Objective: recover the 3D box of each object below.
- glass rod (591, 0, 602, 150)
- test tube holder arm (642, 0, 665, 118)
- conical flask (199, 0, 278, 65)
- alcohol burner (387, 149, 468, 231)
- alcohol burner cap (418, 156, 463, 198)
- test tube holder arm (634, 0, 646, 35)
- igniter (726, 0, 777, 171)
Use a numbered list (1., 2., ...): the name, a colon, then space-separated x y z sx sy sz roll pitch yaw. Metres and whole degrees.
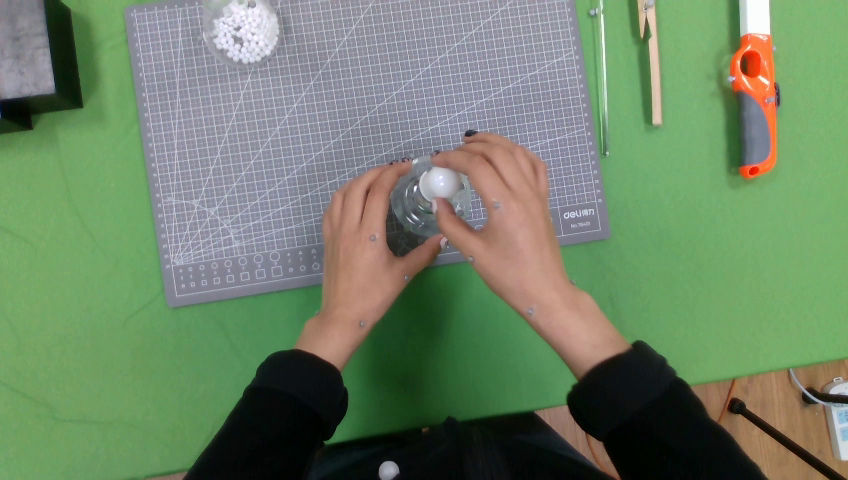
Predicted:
1. glass rod: 0.179 -0.194 0.631 0.008 0.008 0.199 -2 91 -5
2. test tube holder arm: 0.234 -0.215 0.629 0.013 0.015 0.178 -8 89 32
3. conical flask: -0.178 -0.212 0.545 0.075 0.122 0.075 0 88 -4
4. alcohol burner: 0.004 -0.048 0.560 0.078 0.119 0.078 0 87 -2
5. alcohol burner cap: 0.015 -0.053 0.492 0.034 0.048 0.034 0 88 -13
6. test tube holder arm: 0.223 -0.260 0.632 0.010 0.015 0.088 -7 90 32
7. igniter: 0.341 -0.210 0.633 0.057 0.025 0.276 -1 89 -14
